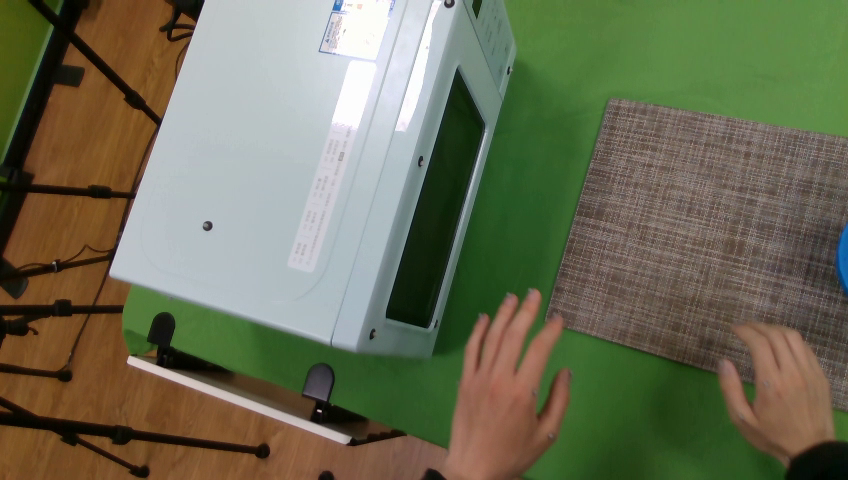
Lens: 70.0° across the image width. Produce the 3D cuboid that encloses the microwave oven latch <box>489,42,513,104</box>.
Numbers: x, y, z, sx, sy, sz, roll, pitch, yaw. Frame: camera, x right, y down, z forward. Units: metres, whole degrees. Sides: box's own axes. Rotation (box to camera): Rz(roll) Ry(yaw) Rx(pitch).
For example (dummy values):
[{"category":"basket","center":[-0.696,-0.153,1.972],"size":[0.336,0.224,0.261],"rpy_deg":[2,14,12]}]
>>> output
[{"category":"microwave oven latch","center":[0.097,-0.223,0.801],"size":[0.030,0.030,0.079],"rpy_deg":[13,83,19]}]

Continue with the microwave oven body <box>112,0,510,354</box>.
[{"category":"microwave oven body","center":[-0.115,-0.106,0.737],"size":[0.324,0.262,0.440],"rpy_deg":[13,83,19]}]

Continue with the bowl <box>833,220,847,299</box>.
[{"category":"bowl","center":[0.495,0.028,0.618],"size":[0.151,0.077,0.150],"rpy_deg":[-4,77,17]}]

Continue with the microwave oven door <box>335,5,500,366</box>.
[{"category":"microwave oven door","center":[0.006,-0.037,0.680],"size":[0.039,0.245,0.355],"rpy_deg":[13,82,20]}]
